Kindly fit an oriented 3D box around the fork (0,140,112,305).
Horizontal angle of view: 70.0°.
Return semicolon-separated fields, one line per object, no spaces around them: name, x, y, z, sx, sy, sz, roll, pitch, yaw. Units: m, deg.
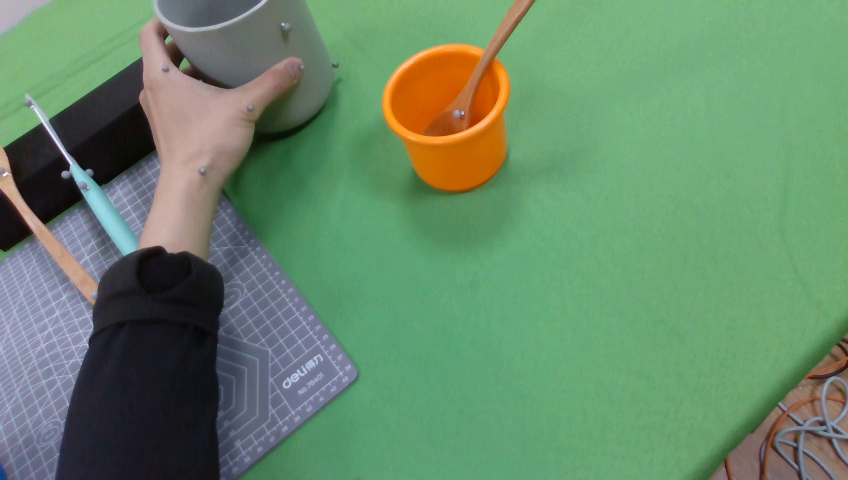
fork;-0.318;-0.025;0.491;0.028;0.019;0.206;-40;79;-16

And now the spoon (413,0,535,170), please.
spoon;0.046;-0.127;0.429;0.022;0.194;0.041;-4;49;-43

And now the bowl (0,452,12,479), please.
bowl;-0.315;0.185;0.377;0.151;0.077;0.150;-5;61;10

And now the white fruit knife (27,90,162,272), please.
white fruit knife;-0.279;-0.054;0.500;0.016;0.027;0.206;-39;75;-10

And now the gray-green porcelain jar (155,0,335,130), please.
gray-green porcelain jar;-0.137;-0.162;0.497;0.106;0.128;0.105;-5;61;10
